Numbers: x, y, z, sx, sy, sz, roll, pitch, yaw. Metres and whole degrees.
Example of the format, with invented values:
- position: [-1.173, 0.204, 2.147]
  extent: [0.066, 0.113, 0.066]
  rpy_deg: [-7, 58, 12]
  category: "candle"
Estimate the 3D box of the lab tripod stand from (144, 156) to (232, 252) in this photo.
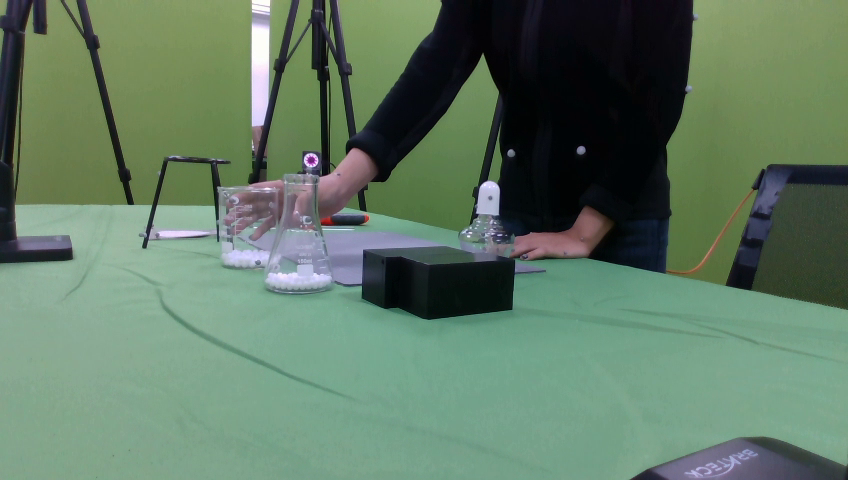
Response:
- position: [-0.325, -0.054, 0.881]
  extent: [0.148, 0.131, 0.148]
  rpy_deg: [4, 7, 0]
  category: "lab tripod stand"

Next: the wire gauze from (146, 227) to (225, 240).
- position: [-0.400, -0.012, 1.019]
  extent: [0.122, 0.011, 0.124]
  rpy_deg: [-1, 6, -26]
  category: "wire gauze"

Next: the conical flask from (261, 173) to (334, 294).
- position: [-0.131, -0.009, 0.633]
  extent: [0.075, 0.122, 0.075]
  rpy_deg: [3, 8, 0]
  category: "conical flask"

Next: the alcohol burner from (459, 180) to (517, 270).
- position: [0.086, -0.021, 0.805]
  extent: [0.078, 0.119, 0.078]
  rpy_deg: [3, 9, 0]
  category: "alcohol burner"

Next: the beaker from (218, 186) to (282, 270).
- position: [-0.222, -0.017, 0.758]
  extent: [0.084, 0.100, 0.074]
  rpy_deg: [4, 7, 19]
  category: "beaker"

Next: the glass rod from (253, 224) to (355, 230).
- position: [-0.226, -0.024, 1.162]
  extent: [0.201, 0.008, 0.008]
  rpy_deg: [1, 7, -28]
  category: "glass rod"

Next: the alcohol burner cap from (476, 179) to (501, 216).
- position: [0.086, -0.056, 0.801]
  extent: [0.034, 0.048, 0.034]
  rpy_deg: [4, 3, 0]
  category: "alcohol burner cap"

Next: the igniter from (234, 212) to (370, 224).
- position: [-0.247, -0.046, 1.253]
  extent: [0.278, 0.025, 0.057]
  rpy_deg: [-1, -3, -27]
  category: "igniter"
